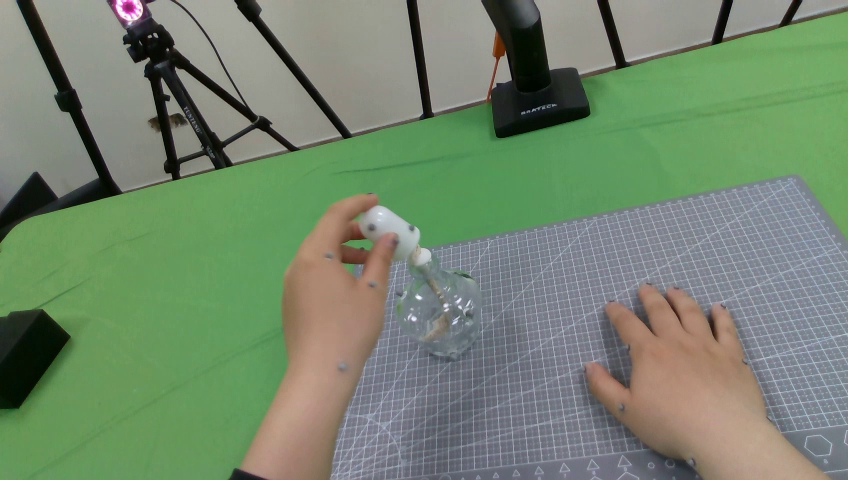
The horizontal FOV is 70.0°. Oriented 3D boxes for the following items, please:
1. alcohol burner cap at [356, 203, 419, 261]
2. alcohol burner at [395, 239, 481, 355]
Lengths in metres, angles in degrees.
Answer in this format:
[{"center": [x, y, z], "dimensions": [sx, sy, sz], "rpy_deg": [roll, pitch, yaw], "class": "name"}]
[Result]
[{"center": [-0.030, -0.009, 0.466], "dimensions": [0.034, 0.048, 0.033], "rpy_deg": [-32, 38, 30], "class": "alcohol burner cap"}, {"center": [0.008, 0.043, 0.516], "dimensions": [0.078, 0.120, 0.077], "rpy_deg": [-11, 41, 10], "class": "alcohol burner"}]
